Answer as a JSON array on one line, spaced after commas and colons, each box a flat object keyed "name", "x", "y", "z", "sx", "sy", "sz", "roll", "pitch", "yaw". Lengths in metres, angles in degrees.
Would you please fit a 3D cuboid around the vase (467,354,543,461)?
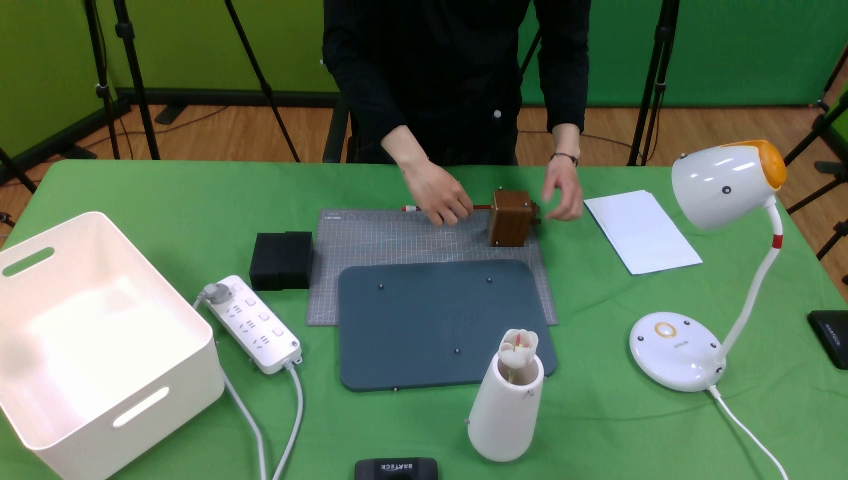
[{"name": "vase", "x": 0.116, "y": 0.234, "z": 0.861, "sx": 0.098, "sy": 0.201, "sz": 0.097, "roll": 1, "pitch": 47, "yaw": -1}]

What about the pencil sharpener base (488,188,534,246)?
[{"name": "pencil sharpener base", "x": 0.170, "y": -0.043, "z": 1.189, "sx": 0.077, "sy": 0.107, "sz": 0.061, "roll": 1, "pitch": 46, "yaw": -3}]

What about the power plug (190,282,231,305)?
[{"name": "power plug", "x": -0.368, "y": 0.098, "z": 1.039, "sx": 0.072, "sy": 0.053, "sz": 0.035, "roll": -26, "pitch": 55, "yaw": -20}]

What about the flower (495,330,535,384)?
[{"name": "flower", "x": 0.110, "y": 0.187, "z": 0.791, "sx": 0.044, "sy": 0.363, "sz": 0.038, "roll": -32, "pitch": 65, "yaw": -10}]

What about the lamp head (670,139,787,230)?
[{"name": "lamp head", "x": 0.415, "y": -0.079, "z": 0.812, "sx": 0.113, "sy": 0.123, "sz": 0.112, "roll": 13, "pitch": 70, "yaw": -37}]

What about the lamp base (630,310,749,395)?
[{"name": "lamp base", "x": 0.447, "y": 0.143, "z": 0.984, "sx": 0.161, "sy": 0.181, "sz": 0.178, "roll": -24, "pitch": 55, "yaw": -24}]

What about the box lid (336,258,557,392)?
[{"name": "box lid", "x": 0.030, "y": 0.140, "z": 1.073, "sx": 0.372, "sy": 0.015, "sz": 0.261, "roll": -3, "pitch": 47, "yaw": -7}]

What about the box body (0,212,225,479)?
[{"name": "box body", "x": -0.504, "y": 0.154, "z": 0.916, "sx": 0.362, "sy": 0.161, "sz": 0.254, "roll": 36, "pitch": 54, "yaw": 27}]

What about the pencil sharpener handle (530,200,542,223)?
[{"name": "pencil sharpener handle", "x": 0.222, "y": -0.054, "z": 1.185, "sx": 0.031, "sy": 0.068, "sz": 0.036, "roll": 1, "pitch": 60, "yaw": -3}]

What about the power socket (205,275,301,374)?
[{"name": "power socket", "x": -0.296, "y": 0.140, "z": 1.035, "sx": 0.072, "sy": 0.033, "sz": 0.225, "roll": -32, "pitch": 57, "yaw": -30}]

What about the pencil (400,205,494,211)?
[{"name": "pencil", "x": 0.051, "y": -0.063, "z": 1.170, "sx": 0.194, "sy": 0.012, "sz": 0.012, "roll": -1, "pitch": 46, "yaw": 4}]
